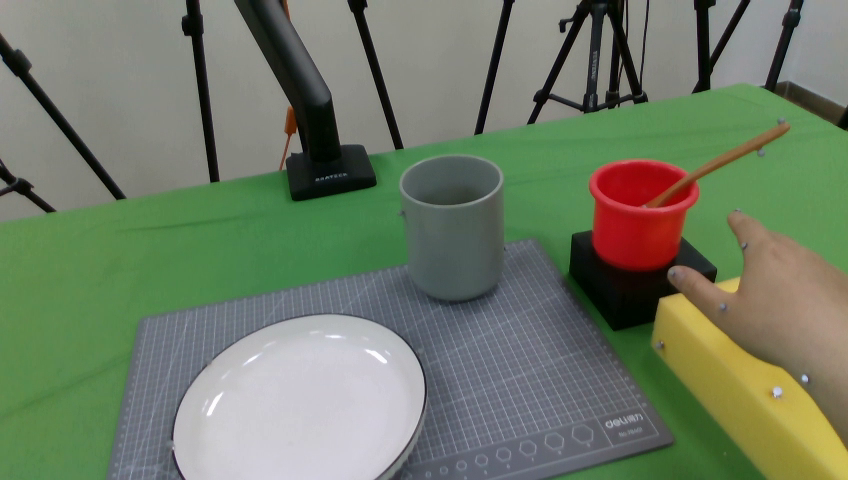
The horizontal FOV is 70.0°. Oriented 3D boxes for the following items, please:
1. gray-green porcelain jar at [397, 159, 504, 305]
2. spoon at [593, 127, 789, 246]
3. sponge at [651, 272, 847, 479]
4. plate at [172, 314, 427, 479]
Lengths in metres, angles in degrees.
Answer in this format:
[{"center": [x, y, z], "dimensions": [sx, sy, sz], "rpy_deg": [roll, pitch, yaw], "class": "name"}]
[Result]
[{"center": [0.030, -0.005, 0.631], "dimensions": [0.106, 0.127, 0.105], "rpy_deg": [-4, 36, 3], "class": "gray-green porcelain jar"}, {"center": [0.242, -0.047, 0.565], "dimensions": [0.194, 0.022, 0.041], "rpy_deg": [-39, 21, 33], "class": "spoon"}, {"center": [0.296, 0.118, 0.485], "dimensions": [0.118, 0.061, 0.204], "rpy_deg": [-14, 36, -12], "class": "sponge"}, {"center": [-0.100, 0.146, 0.511], "dimensions": [0.207, 0.039, 0.205], "rpy_deg": [-3, 35, 3], "class": "plate"}]
